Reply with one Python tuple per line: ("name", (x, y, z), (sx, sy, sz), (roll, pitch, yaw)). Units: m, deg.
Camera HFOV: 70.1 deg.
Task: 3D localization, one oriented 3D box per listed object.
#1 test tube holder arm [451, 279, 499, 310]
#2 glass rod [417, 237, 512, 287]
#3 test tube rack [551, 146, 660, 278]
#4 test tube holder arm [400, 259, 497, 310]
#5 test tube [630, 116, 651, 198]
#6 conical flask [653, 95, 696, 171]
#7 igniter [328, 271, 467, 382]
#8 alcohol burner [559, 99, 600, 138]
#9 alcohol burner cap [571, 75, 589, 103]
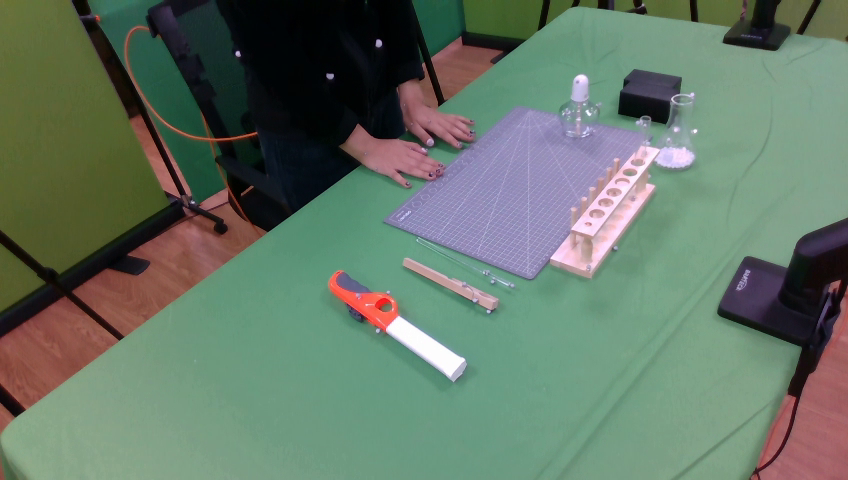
("test tube holder arm", (0.071, 0.079, 0.883), (0.087, 0.015, 0.010), (23, 14, 34))
("glass rod", (0.059, 0.032, 0.945), (0.198, 0.008, 0.008), (27, 52, 38))
("test tube rack", (0.286, -0.053, 0.943), (0.066, 0.085, 0.243), (21, 49, 32))
("test tube holder arm", (0.033, 0.064, 0.902), (0.177, 0.015, 0.013), (23, 13, 32))
("test tube", (0.336, -0.125, 0.941), (0.017, 0.151, 0.017), (-5, 43, 5))
("conical flask", (0.437, -0.187, 1.043), (0.075, 0.122, 0.075), (-6, 40, 5))
("igniter", (-0.049, 0.114, 0.854), (0.274, 0.025, 0.057), (29, 63, 37))
("alcohol burner", (0.298, -0.258, 1.156), (0.078, 0.119, 0.077), (-4, 39, 4))
("alcohol burner cap", (0.294, -0.284, 1.132), (0.034, 0.048, 0.033), (-5, 46, 5))
